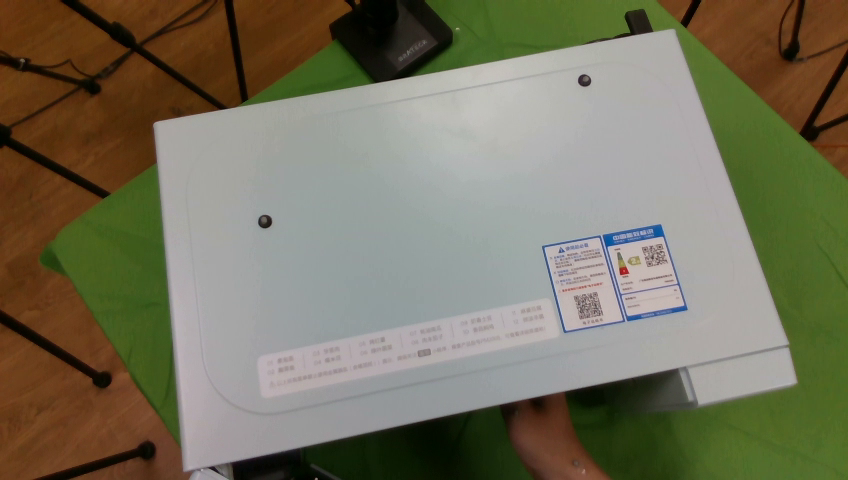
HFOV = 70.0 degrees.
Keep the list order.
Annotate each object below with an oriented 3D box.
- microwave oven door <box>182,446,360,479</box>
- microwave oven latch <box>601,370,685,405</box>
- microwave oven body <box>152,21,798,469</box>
[{"bbox_3d":[-0.003,0.266,0.499,0.355,0.245,0.039,25,76,7],"label":"microwave oven door"},{"bbox_3d":[0.230,0.154,0.637,0.079,0.029,0.030,-9,74,-2],"label":"microwave oven latch"},{"bbox_3d":[0.026,0.021,0.575,0.442,0.261,0.324,-11,74,-2],"label":"microwave oven body"}]
